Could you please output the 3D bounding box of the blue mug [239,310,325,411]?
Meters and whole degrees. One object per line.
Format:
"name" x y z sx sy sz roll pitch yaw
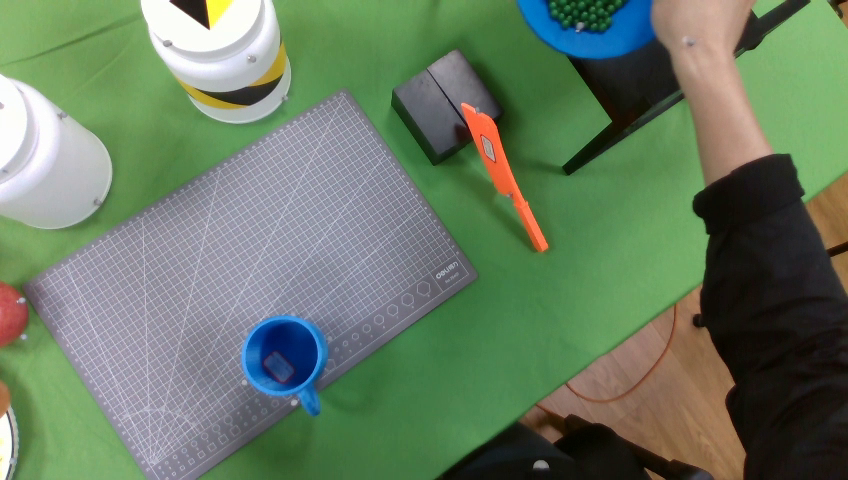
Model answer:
"blue mug" -0.147 0.136 0.675 0.082 0.106 0.116 -26 85 -9

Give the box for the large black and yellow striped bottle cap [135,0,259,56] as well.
"large black and yellow striped bottle cap" -0.222 -0.239 0.596 0.115 0.019 0.114 1 83 -8

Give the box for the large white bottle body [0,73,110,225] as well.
"large white bottle body" -0.433 -0.095 0.636 0.131 0.185 0.130 1 81 -6

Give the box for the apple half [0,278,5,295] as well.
"apple half" -0.504 0.061 0.662 0.033 0.081 0.081 41 80 -4

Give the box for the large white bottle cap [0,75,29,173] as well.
"large white bottle cap" -0.425 -0.107 0.553 0.115 0.018 0.114 1 82 -6

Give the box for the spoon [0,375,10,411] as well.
"spoon" -0.363 0.130 0.389 0.021 0.194 0.041 -7 96 17

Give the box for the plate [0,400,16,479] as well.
"plate" -0.548 0.222 0.654 0.209 0.038 0.208 1 83 -6

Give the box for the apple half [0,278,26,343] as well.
"apple half" -0.475 0.087 0.664 0.053 0.074 0.080 42 76 -3

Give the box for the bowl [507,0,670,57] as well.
"bowl" 0.139 -0.237 0.541 0.151 0.076 0.152 0 100 -2

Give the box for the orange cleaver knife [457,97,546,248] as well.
"orange cleaver knife" 0.095 -0.080 0.744 0.012 0.076 0.213 -35 118 -11

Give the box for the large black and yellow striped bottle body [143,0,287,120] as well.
"large black and yellow striped bottle body" -0.230 -0.225 0.678 0.131 0.184 0.130 1 81 -6
